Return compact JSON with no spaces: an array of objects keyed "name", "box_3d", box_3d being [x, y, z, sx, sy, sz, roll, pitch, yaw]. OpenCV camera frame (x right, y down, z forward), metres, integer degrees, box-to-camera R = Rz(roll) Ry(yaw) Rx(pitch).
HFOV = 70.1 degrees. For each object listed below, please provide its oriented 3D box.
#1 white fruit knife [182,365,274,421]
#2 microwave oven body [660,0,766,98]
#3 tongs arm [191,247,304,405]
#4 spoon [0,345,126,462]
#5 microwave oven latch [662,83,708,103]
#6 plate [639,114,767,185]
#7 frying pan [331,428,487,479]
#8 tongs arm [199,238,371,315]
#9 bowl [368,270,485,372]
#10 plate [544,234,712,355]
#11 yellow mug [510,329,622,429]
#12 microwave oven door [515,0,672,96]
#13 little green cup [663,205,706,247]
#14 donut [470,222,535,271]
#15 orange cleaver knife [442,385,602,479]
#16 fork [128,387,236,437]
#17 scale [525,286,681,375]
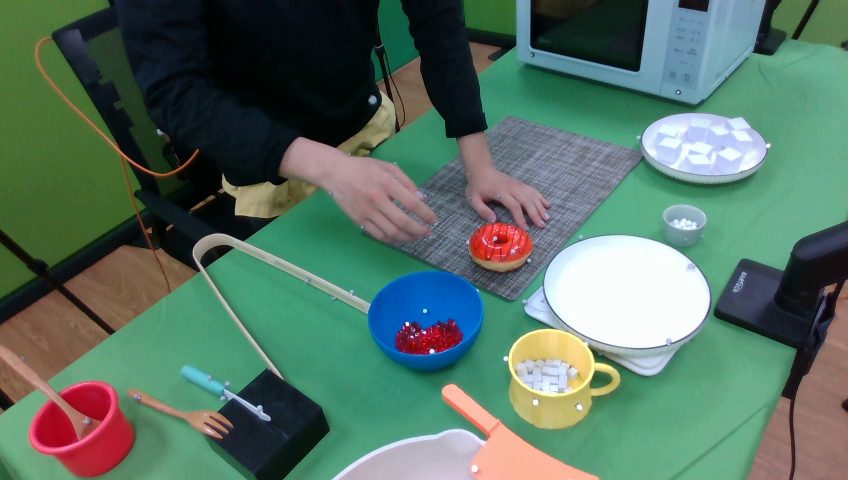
[{"name":"white fruit knife","box_3d":[-0.245,0.188,0.747,0.205,0.027,0.016,9,40,41]},{"name":"microwave oven body","box_3d":[0.472,-0.513,1.317,0.438,0.261,0.327,26,51,34]},{"name":"tongs arm","box_3d":[-0.268,0.112,0.882,0.028,0.028,0.384,-36,46,-18]},{"name":"spoon","box_3d":[-0.434,0.192,0.720,0.194,0.021,0.042,47,53,-7]},{"name":"microwave oven latch","box_3d":[0.517,-0.296,1.204,0.078,0.029,0.030,28,52,35]},{"name":"plate","box_3d":[0.489,-0.157,1.074,0.207,0.039,0.206,-4,40,4]},{"name":"frying pan","box_3d":[-0.089,0.306,0.564,0.487,0.103,0.306,10,41,7]},{"name":"tongs arm","box_3d":[-0.209,0.064,0.924,0.381,0.027,0.051,22,53,32]},{"name":"bowl","box_3d":[0.007,0.119,0.791,0.151,0.077,0.150,-5,40,4]},{"name":"plate","box_3d":[0.262,0.072,0.792,0.209,0.038,0.208,-4,41,4]},{"name":"yellow mug","box_3d":[0.168,0.164,0.721,0.130,0.064,0.099,0,40,8]},{"name":"microwave oven door","box_3d":[0.343,-0.454,1.259,0.353,0.245,0.039,26,51,33]},{"name":"little green cup","box_3d":[0.396,-0.020,0.926,0.061,0.039,0.061,-4,40,4]},{"name":"donut","box_3d":[0.119,0.009,0.923,0.099,0.048,0.098,-3,38,3]},{"name":"orange cleaver knife","box_3d":[0.085,0.219,0.612,0.209,0.012,0.077,28,49,35]},{"name":"fork","box_3d":[-0.305,0.208,0.744,0.206,0.019,0.028,3,40,36]},{"name":"scale","box_3d":[0.254,0.091,0.821,0.199,0.032,0.149,27,51,35]}]
